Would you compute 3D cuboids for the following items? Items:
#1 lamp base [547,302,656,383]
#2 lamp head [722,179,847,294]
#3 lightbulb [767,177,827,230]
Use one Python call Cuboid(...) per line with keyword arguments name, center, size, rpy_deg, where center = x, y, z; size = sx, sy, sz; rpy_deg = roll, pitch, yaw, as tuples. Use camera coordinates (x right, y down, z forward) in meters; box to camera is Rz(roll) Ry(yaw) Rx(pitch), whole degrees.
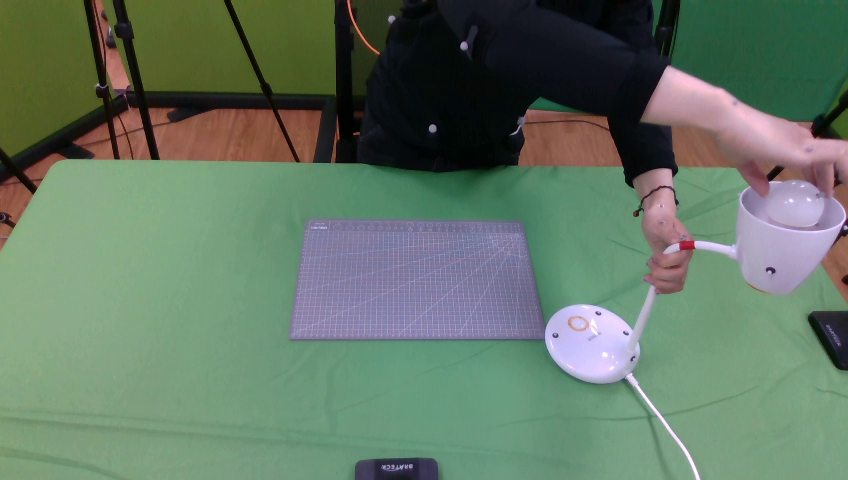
Cuboid(name="lamp base", center=(0.304, 0.127, 0.982), size=(0.160, 0.181, 0.178), rpy_deg=(-33, 59, -29))
Cuboid(name="lamp head", center=(0.423, 0.003, 0.726), size=(0.112, 0.123, 0.111), rpy_deg=(0, 39, 0))
Cuboid(name="lightbulb", center=(0.428, -0.022, 0.708), size=(0.059, 0.108, 0.059), rpy_deg=(-3, 34, 2))
